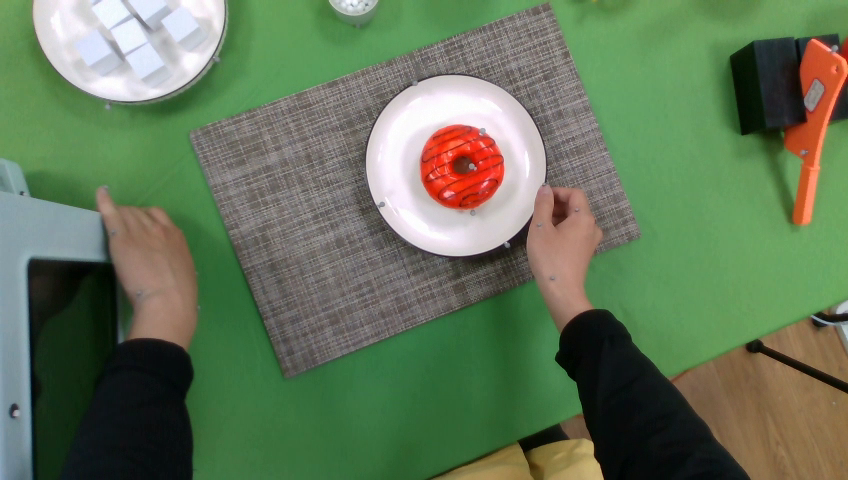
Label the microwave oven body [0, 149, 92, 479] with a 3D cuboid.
[{"bbox_3d":[-0.521,0.152,0.538,0.326,0.260,0.441,-18,90,-5],"label":"microwave oven body"}]

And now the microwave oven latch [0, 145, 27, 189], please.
[{"bbox_3d":[-0.443,-0.059,0.644,0.030,0.029,0.079,-16,90,-5],"label":"microwave oven latch"}]

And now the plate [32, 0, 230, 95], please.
[{"bbox_3d":[-0.319,-0.262,0.676,0.208,0.039,0.207,0,89,-4],"label":"plate"}]

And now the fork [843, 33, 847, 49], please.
[{"bbox_3d":[0.598,-0.233,0.682,0.206,0.019,0.028,6,85,38],"label":"fork"}]

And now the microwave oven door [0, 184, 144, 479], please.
[{"bbox_3d":[-0.323,0.138,0.547,0.039,0.244,0.355,-3,89,-3],"label":"microwave oven door"}]

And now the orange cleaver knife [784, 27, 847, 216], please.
[{"bbox_3d":[0.444,-0.132,0.702,0.012,0.076,0.213,-6,118,-2],"label":"orange cleaver knife"}]

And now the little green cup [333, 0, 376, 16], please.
[{"bbox_3d":[-0.080,-0.289,0.692,0.061,0.038,0.061,0,88,-3],"label":"little green cup"}]

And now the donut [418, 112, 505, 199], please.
[{"bbox_3d":[0.041,-0.094,0.681,0.099,0.048,0.099,0,89,-1],"label":"donut"}]

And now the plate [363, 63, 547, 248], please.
[{"bbox_3d":[0.035,-0.094,0.691,0.209,0.038,0.209,0,89,-3],"label":"plate"}]
